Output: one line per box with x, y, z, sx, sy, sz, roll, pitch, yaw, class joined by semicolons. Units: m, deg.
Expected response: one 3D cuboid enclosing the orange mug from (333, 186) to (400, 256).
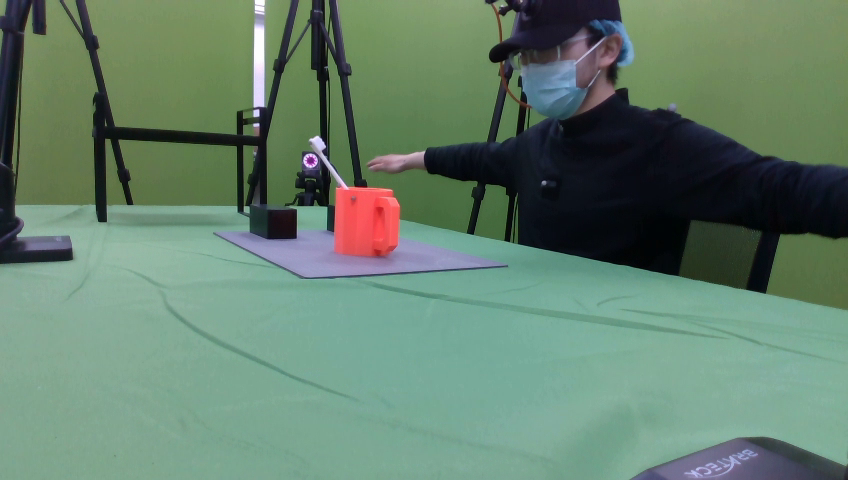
-0.080;-0.029;0.888;0.084;0.100;0.125;-3;5;-40;orange mug

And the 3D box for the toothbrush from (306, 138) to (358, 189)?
-0.107;-0.080;0.892;0.014;0.182;0.016;-39;12;18;toothbrush
